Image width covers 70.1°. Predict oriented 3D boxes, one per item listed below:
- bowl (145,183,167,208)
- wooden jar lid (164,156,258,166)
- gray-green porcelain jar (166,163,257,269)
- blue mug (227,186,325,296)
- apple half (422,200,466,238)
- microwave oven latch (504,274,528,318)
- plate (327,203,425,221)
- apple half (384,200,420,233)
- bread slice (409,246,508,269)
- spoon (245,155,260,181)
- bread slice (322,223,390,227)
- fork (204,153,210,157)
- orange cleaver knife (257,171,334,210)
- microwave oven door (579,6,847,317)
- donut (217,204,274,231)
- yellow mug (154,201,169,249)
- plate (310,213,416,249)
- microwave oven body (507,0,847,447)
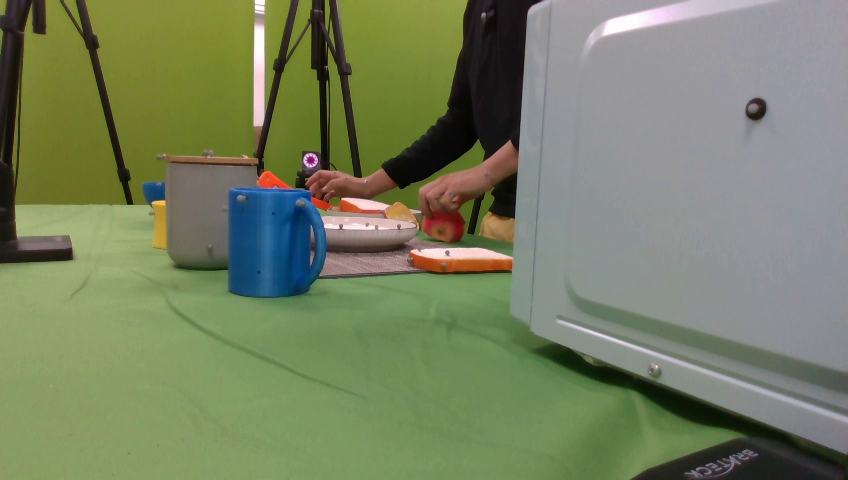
[{"bbox_3d":[-0.459,-0.068,1.175,0.151,0.077,0.151,3,7,0],"label":"bowl"},{"bbox_3d":[-0.261,-0.093,0.746,0.108,0.020,0.108,1,9,0],"label":"wooden jar lid"},{"bbox_3d":[-0.263,-0.031,0.754,0.106,0.126,0.106,2,7,0],"label":"gray-green porcelain jar"},{"bbox_3d":[-0.146,0.000,0.618,0.116,0.106,0.083,7,9,32],"label":"blue mug"},{"bbox_3d":[0.038,-0.043,1.105,0.080,0.053,0.075,21,28,10],"label":"apple half"},{"bbox_3d":[0.100,0.041,0.471,0.079,0.029,0.030,-1,8,-28],"label":"microwave oven latch"},{"bbox_3d":[-0.102,-0.053,1.299,0.209,0.038,0.209,2,8,0],"label":"plate"},{"bbox_3d":[-0.047,-0.038,1.175,0.082,0.081,0.032,-7,-28,-50],"label":"apple half"},{"bbox_3d":[0.048,0.022,0.816,0.132,0.019,0.104,0,7,-24],"label":"bread slice"},{"bbox_3d":[-0.421,-0.150,1.540,0.042,0.021,0.193,-5,55,-37],"label":"spoon"},{"bbox_3d":[-0.116,-0.014,0.974,0.135,0.018,0.106,-6,11,-42],"label":"bread slice"},{"bbox_3d":[-0.480,-0.134,1.411,0.028,0.018,0.207,1,-35,0],"label":"fork"},{"bbox_3d":[-0.283,-0.087,1.343,0.212,0.077,0.012,24,-16,-41],"label":"orange cleaver knife"},{"bbox_3d":[0.294,-0.067,0.570,0.358,0.243,0.039,-3,9,-31],"label":"microwave oven door"},{"bbox_3d":[-0.318,-0.038,1.080,0.099,0.048,0.099,3,7,0],"label":"donut"},{"bbox_3d":[-0.337,-0.022,0.899,0.130,0.064,0.100,8,9,34],"label":"yellow mug"},{"bbox_3d":[-0.117,-0.014,0.967,0.208,0.039,0.207,2,7,0],"label":"plate"},{"bbox_3d":[0.331,-0.042,0.425,0.444,0.260,0.324,-2,8,-31],"label":"microwave oven body"}]
